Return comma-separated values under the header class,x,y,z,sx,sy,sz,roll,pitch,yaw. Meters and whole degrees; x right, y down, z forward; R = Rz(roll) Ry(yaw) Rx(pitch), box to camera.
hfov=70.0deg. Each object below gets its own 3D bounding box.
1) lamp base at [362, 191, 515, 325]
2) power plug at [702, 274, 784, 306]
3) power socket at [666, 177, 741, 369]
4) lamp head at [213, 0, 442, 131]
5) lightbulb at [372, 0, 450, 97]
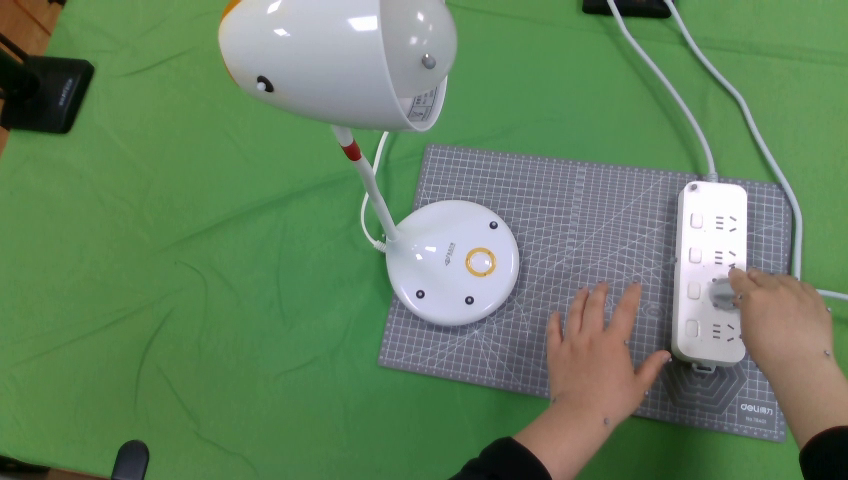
class,x,y,z,sx,sy,sz,roll,pitch,yaw
lamp base,0.006,-0.003,0.665,0.179,0.181,0.159,2,71,12
power plug,0.339,0.060,0.653,0.072,0.053,0.035,19,77,18
power socket,0.319,0.032,0.689,0.072,0.033,0.225,7,72,9
lamp head,-0.058,-0.116,0.362,0.122,0.113,0.112,-2,70,24
lightbulb,-0.037,-0.114,0.347,0.107,0.060,0.059,8,72,19
